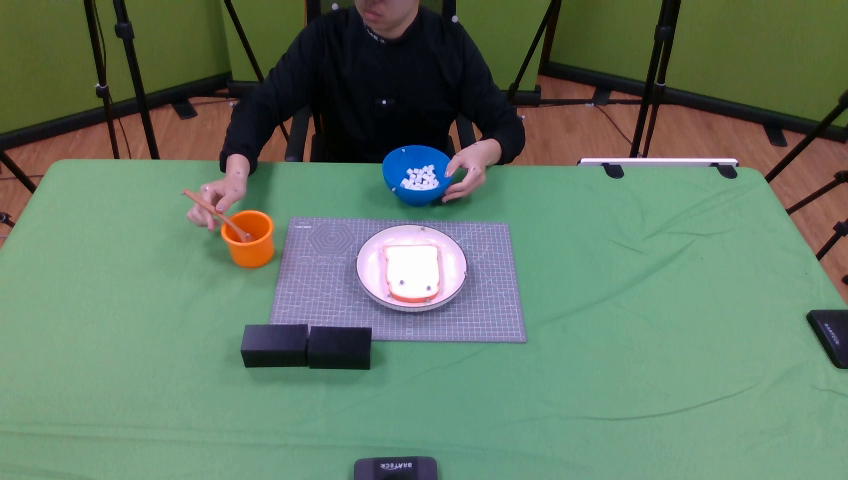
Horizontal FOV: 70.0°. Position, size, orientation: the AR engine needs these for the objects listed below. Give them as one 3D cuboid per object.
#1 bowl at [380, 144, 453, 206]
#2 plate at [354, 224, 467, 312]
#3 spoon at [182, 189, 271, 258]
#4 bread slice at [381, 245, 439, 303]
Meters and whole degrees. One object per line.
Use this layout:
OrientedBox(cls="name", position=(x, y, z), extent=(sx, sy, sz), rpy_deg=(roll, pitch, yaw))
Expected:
OrientedBox(cls="bowl", position=(-0.017, -0.125, 1.278), extent=(0.151, 0.077, 0.150), rpy_deg=(2, 46, -2))
OrientedBox(cls="plate", position=(-0.025, 0.055, 1.128), extent=(0.209, 0.038, 0.208), rpy_deg=(3, 46, -2))
OrientedBox(cls="spoon", position=(-0.361, -0.032, 1.113), extent=(0.021, 0.194, 0.041), rpy_deg=(-28, 30, 33))
OrientedBox(cls="bread slice", position=(-0.022, 0.061, 1.126), extent=(0.107, 0.018, 0.133), rpy_deg=(-3, 45, -8))
